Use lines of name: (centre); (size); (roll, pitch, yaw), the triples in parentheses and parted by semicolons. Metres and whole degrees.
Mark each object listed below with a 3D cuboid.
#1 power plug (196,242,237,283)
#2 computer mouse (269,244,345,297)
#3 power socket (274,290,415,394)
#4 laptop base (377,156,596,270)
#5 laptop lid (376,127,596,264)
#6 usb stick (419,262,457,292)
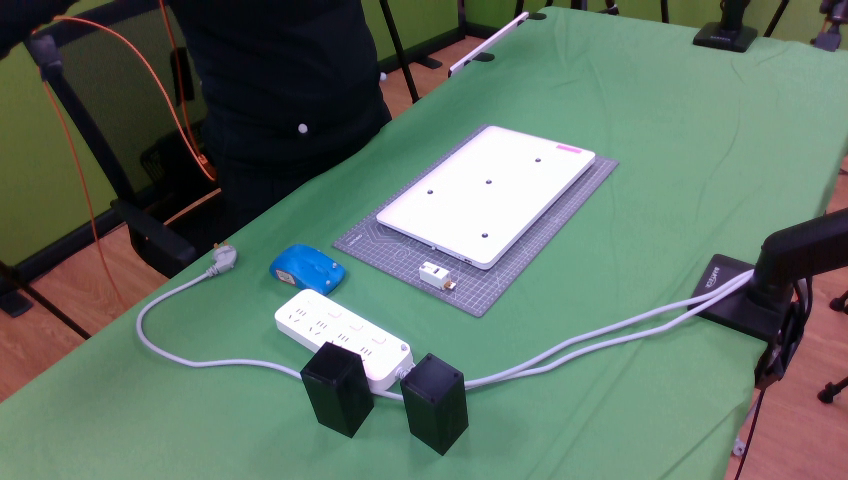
power plug: (-0.336, 0.031, 0.968); (0.073, 0.035, 0.052); (-18, 58, -28)
computer mouse: (-0.181, 0.044, 0.932); (0.116, 0.041, 0.063); (23, 46, 25)
power socket: (-0.114, 0.133, 0.820); (0.225, 0.033, 0.072); (25, 49, 32)
laptop base: (0.116, -0.086, 1.056); (0.233, 0.023, 0.355); (21, 48, 34)
laptop lid: (0.113, -0.096, 1.050); (0.239, 0.013, 0.358); (24, 49, 34)
usb stick: (0.022, 0.056, 0.892); (0.059, 0.027, 0.021); (25, 47, 30)
